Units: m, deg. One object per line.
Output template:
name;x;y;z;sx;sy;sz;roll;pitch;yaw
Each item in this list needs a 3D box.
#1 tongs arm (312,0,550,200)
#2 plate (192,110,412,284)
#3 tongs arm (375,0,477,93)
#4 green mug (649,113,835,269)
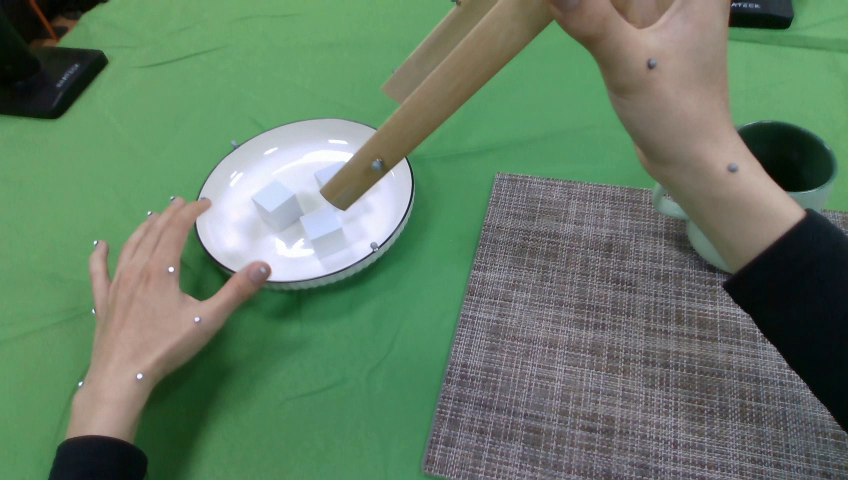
tongs arm;0.039;-0.116;0.300;0.028;0.387;0.028;40;47;-14
plate;-0.113;-0.041;0.580;0.209;0.038;0.207;-3;53;4
tongs arm;0.062;-0.165;0.336;0.027;0.384;0.050;38;56;-16
green mug;0.250;-0.039;0.492;0.125;0.106;0.092;7;55;12
